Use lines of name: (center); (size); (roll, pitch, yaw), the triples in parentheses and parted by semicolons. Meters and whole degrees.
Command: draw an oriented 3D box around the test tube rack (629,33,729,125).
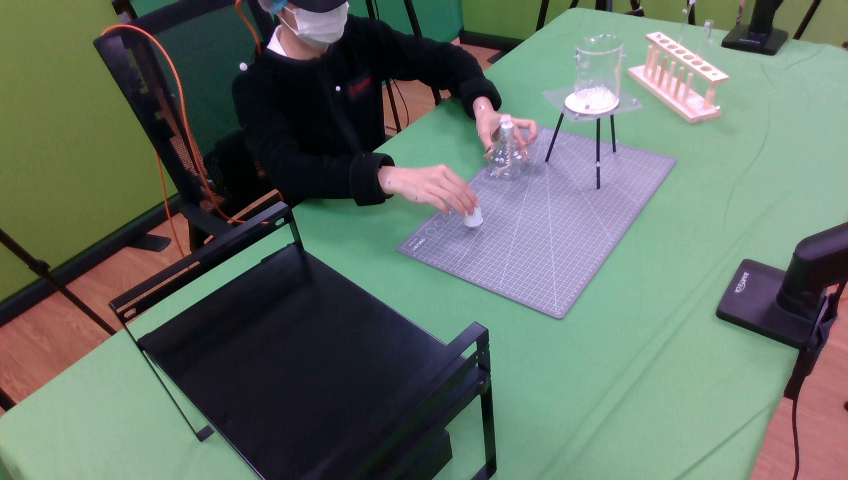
test tube rack: (0.516, -0.337, 1.247); (0.067, 0.085, 0.240); (-14, 41, -7)

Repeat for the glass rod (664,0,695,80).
glass rod: (0.523, -0.415, 1.235); (0.008, 0.200, 0.008); (1, 47, 0)

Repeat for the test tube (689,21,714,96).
test tube: (0.541, -0.353, 1.184); (0.017, 0.151, 0.017); (-2, 40, 2)

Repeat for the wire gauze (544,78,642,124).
wire gauze: (0.282, -0.234, 1.021); (0.125, 0.011, 0.120); (-17, 38, -4)

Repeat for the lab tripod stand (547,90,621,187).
lab tripod stand: (0.289, -0.184, 1.062); (0.148, 0.132, 0.147); (-6, 41, 6)

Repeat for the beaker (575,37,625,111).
beaker: (0.283, -0.271, 0.988); (0.074, 0.101, 0.083); (-10, 39, 1)

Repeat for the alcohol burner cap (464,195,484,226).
alcohol burner cap: (0.079, -0.051, 0.982); (0.034, 0.048, 0.033); (-7, 39, 6)

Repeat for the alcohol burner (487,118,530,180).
alcohol burner: (0.151, -0.168, 1.081); (0.078, 0.119, 0.077); (-4, 43, 4)
